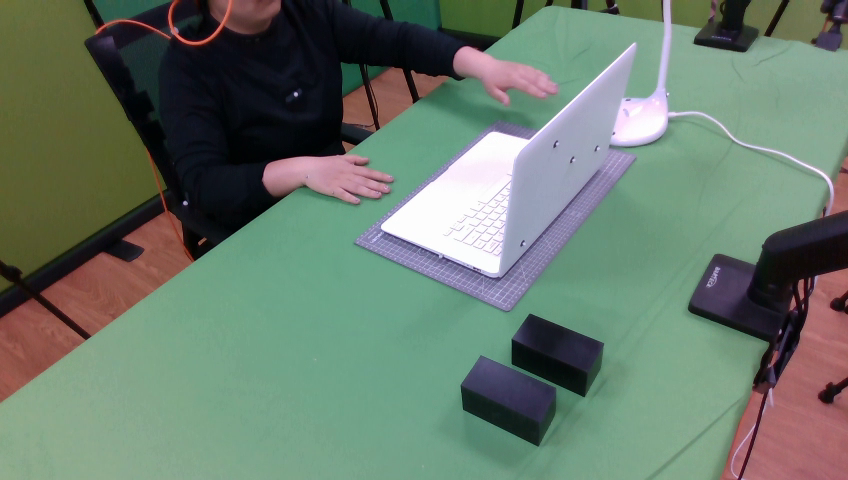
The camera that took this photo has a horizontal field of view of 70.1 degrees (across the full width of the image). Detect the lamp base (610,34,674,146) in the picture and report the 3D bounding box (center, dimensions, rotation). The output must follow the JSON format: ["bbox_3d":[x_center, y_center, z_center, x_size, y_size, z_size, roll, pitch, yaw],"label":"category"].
[{"bbox_3d":[0.392,-0.291,1.129,0.180,0.181,0.159,-11,41,-8],"label":"lamp base"}]

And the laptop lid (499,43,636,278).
[{"bbox_3d":[0.217,-0.122,0.898,0.013,0.242,0.358,28,50,25],"label":"laptop lid"}]

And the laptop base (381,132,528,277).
[{"bbox_3d":[0.122,-0.077,1.043,0.233,0.023,0.355,20,47,33],"label":"laptop base"}]
